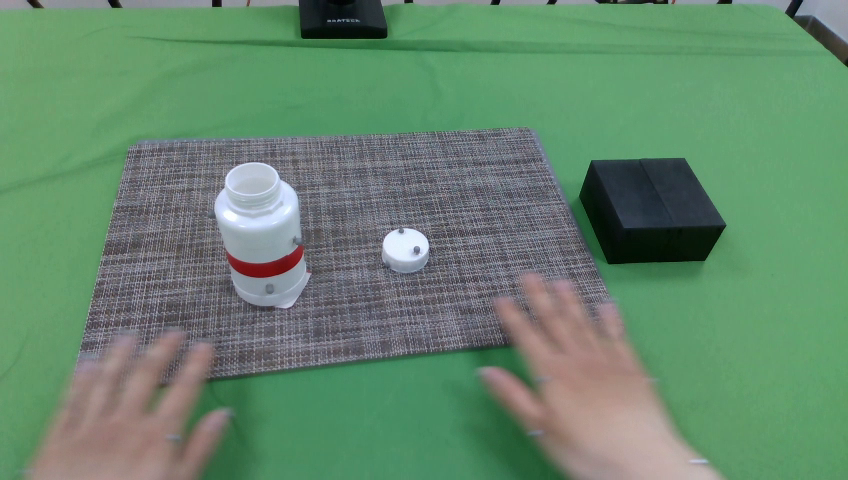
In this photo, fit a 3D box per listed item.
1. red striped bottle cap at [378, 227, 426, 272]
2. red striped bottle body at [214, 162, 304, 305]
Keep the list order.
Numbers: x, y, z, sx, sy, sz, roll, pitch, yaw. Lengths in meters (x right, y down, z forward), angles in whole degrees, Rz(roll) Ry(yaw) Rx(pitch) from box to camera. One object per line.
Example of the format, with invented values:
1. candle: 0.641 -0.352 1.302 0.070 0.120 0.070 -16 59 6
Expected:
1. red striped bottle cap: -0.020 0.008 0.566 0.044 0.018 0.044 8 44 -7
2. red striped bottle body: -0.133 -0.005 0.495 0.063 0.120 0.062 3 47 -3
